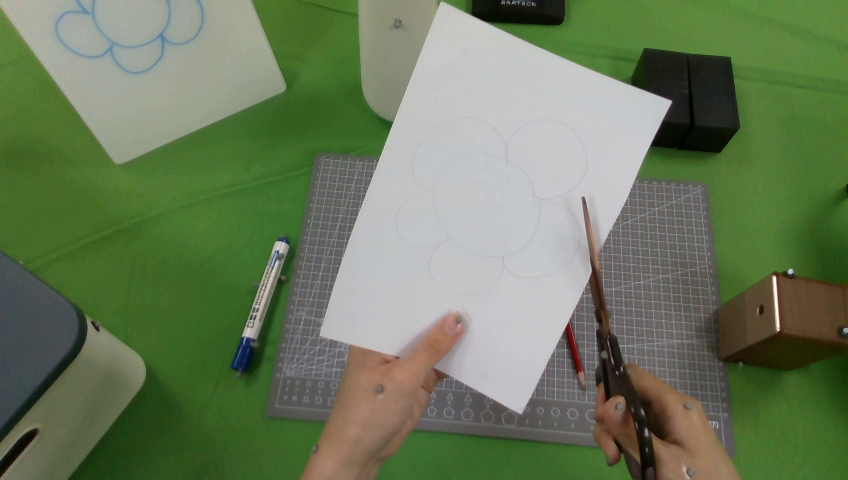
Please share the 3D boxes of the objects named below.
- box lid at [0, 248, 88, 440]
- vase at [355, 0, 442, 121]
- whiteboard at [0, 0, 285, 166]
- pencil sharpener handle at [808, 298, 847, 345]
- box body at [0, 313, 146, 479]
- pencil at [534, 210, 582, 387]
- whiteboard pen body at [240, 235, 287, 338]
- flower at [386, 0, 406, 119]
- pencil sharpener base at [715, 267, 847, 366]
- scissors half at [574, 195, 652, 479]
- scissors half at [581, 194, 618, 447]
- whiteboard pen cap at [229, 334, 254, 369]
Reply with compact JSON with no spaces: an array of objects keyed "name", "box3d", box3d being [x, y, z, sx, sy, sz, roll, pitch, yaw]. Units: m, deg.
[{"name":"box lid","box3d":[-0.473,0.071,0.459,0.370,0.015,0.262,30,69,12]},{"name":"vase","box3d":[-0.029,-0.218,0.648,0.098,0.201,0.097,0,65,1]},{"name":"whiteboard","box3d":[-0.319,-0.275,0.647,0.217,0.308,0.142,-28,50,-11]},{"name":"pencil sharpener handle","box3d":[0.388,0.080,0.560,0.030,0.068,0.035,9,60,1]},{"name":"box body","box3d":[-0.471,0.103,0.527,0.362,0.161,0.253,30,70,12]},{"name":"pencil","box3d":[0.140,0.057,0.632,0.012,0.012,0.192,-8,69,-3]},{"name":"whiteboard pen body","box3d":[-0.168,0.057,0.626,0.017,0.017,0.140,11,65,5]},{"name":"flower","box3d":[-0.035,-0.264,0.578,0.044,0.365,0.038,-2,49,3]},{"name":"pencil sharpener base","box3d":[0.337,0.076,0.572,0.077,0.108,0.061,9,66,0]},{"name":"scissors half","box3d":[0.111,0.056,0.365,0.013,0.040,0.174,-11,78,0]},{"name":"scissors half","box3d":[0.113,0.054,0.388,0.013,0.040,0.176,-11,109,5]},{"name":"whiteboard pen cap","box3d":[-0.179,0.110,0.601,0.018,0.018,0.033,10,62,5]}]
